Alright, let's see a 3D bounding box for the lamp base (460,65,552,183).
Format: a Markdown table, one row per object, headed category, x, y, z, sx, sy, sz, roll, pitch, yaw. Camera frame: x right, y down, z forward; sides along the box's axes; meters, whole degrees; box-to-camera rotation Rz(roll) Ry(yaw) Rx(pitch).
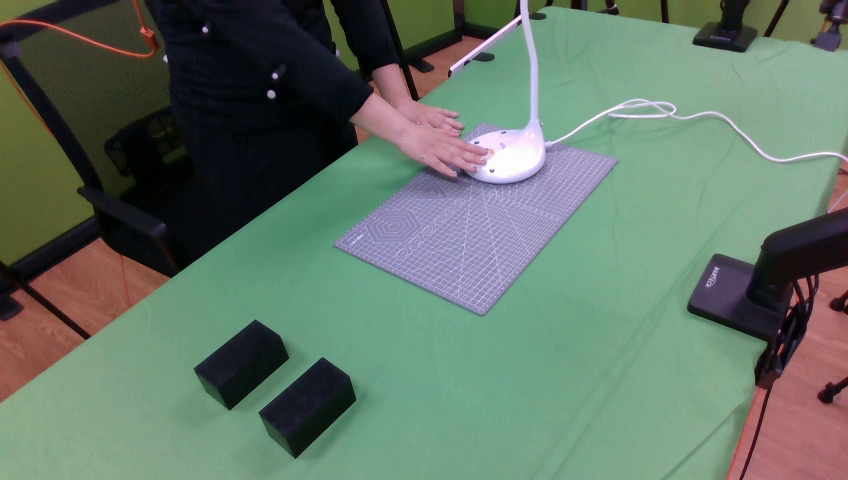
| category | x | y | z | sx | sy | sz | roll | pitch | yaw |
| --- | --- | --- | --- | --- | --- | --- | --- | --- | --- |
| lamp base | 0.149 | -0.218 | 1.078 | 0.180 | 0.181 | 0.159 | -19 | 42 | -17 |
